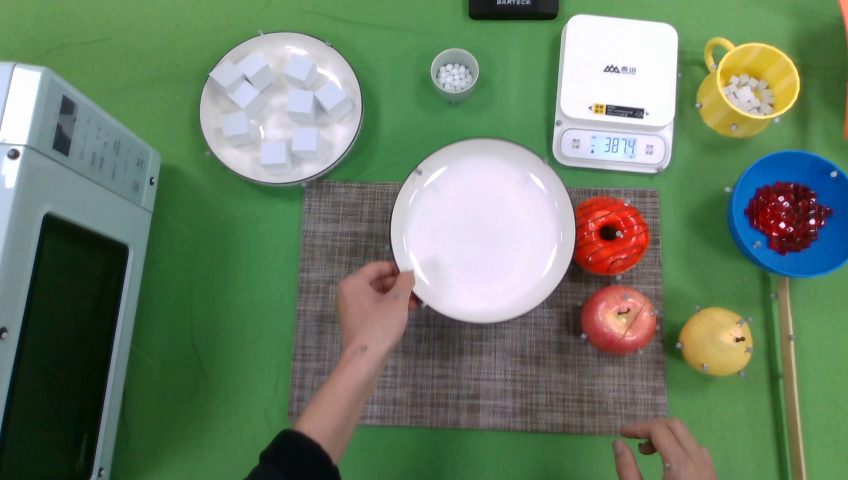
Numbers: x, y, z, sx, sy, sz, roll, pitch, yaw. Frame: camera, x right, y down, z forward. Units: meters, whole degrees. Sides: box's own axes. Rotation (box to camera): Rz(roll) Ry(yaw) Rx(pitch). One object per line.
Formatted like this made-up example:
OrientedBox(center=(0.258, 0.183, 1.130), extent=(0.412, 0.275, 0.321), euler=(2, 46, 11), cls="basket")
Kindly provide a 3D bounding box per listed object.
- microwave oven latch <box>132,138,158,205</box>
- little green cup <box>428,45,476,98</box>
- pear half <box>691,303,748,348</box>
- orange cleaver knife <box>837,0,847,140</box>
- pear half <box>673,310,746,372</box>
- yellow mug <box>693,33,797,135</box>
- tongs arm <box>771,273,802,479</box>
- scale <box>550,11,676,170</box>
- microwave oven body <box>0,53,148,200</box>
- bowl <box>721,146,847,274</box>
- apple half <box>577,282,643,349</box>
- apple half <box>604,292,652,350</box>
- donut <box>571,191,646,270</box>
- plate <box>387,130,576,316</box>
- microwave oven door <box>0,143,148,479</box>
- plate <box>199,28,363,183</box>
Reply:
OrientedBox(center=(-0.351, -0.085, 0.749), extent=(0.030, 0.029, 0.079), euler=(6, 80, 2), cls="microwave oven latch")
OrientedBox(center=(0.036, -0.216, 0.785), extent=(0.061, 0.039, 0.061), euler=(0, 79, 2), cls="little green cup")
OrientedBox(center=(0.344, 0.093, 0.695), extent=(0.070, 0.088, 0.031), euler=(32, 82, 10), cls="pear half")
OrientedBox(center=(0.532, -0.220, 0.724), extent=(0.077, 0.012, 0.210), euler=(6, 80, 5), cls="orange cleaver knife")
OrientedBox(center=(0.322, 0.118, 0.681), extent=(0.076, 0.110, 0.056), euler=(33, 81, 11), cls="pear half")
OrientedBox(center=(0.391, -0.204, 0.761), extent=(0.100, 0.064, 0.130), euler=(-30, 79, -4), cls="yellow mug")
OrientedBox(center=(0.439, 0.230, 0.696), extent=(0.051, 0.026, 0.383), euler=(3, 80, -4), cls="tongs arm")
OrientedBox(center=(0.243, -0.194, 0.780), extent=(0.148, 0.031, 0.200), euler=(6, 80, 3), cls="scale")
OrientedBox(center=(-0.517, 0.058, 0.627), extent=(0.326, 0.261, 0.440), euler=(4, 80, 2), cls="microwave oven body")
OrientedBox(center=(0.420, -0.029, 0.722), extent=(0.151, 0.077, 0.151), euler=(0, 80, 2), cls="bowl")
OrientedBox(center=(0.207, 0.081, 0.705), extent=(0.053, 0.075, 0.080), euler=(35, 85, 11), cls="apple half")
OrientedBox(center=(0.240, 0.101, 0.699), extent=(0.032, 0.081, 0.081), euler=(35, 82, 10), cls="apple half")
OrientedBox(center=(0.217, -0.012, 0.736), extent=(0.099, 0.048, 0.098), euler=(-1, 80, 3), cls="donut")
OrientedBox(center=(0.064, -0.018, 0.681), extent=(0.209, 0.038, 0.208), euler=(0, 84, 2), cls="plate")
OrientedBox(center=(-0.375, 0.109, 0.610), extent=(0.039, 0.244, 0.354), euler=(4, 79, 2), cls="microwave oven door")
OrientedBox(center=(-0.180, -0.170, 0.781), extent=(0.208, 0.039, 0.206), euler=(0, 79, 1), cls="plate")
